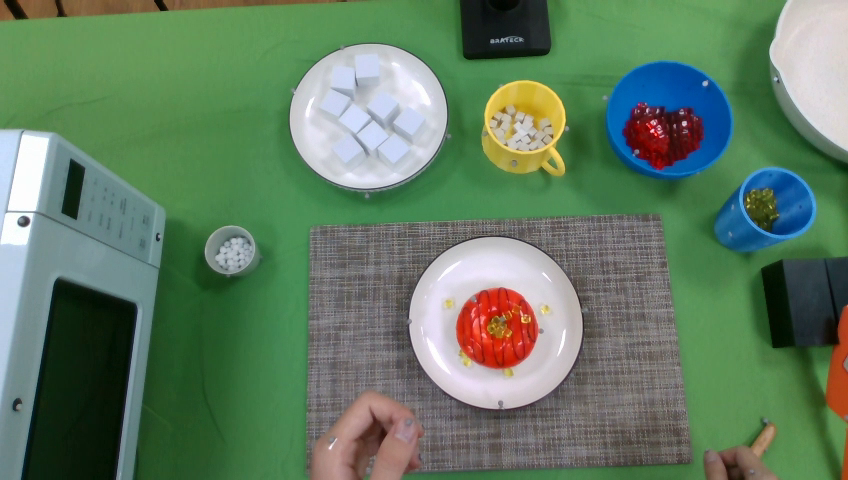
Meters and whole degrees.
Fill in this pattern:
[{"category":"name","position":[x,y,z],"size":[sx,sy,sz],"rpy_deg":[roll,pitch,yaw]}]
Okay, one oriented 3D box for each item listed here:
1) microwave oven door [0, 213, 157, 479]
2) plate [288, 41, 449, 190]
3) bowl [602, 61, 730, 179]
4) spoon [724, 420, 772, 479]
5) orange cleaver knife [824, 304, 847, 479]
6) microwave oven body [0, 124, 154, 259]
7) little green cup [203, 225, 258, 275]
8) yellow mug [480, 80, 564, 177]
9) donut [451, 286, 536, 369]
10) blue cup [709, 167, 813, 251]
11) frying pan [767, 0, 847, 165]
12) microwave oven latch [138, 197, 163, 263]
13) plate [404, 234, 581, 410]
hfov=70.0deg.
[{"category":"microwave oven door","position":[-0.354,0.175,0.597],"size":[0.039,0.245,0.354],"rpy_deg":[1,76,2]},{"category":"plate","position":[-0.071,-0.161,0.798],"size":[0.207,0.039,0.206],"rpy_deg":[0,76,1]},{"category":"bowl","position":[0.293,-0.138,0.764],"size":[0.151,0.077,0.150],"rpy_deg":[0,77,1]},{"category":"spoon","position":[0.341,0.280,0.688],"size":[0.041,0.022,0.193],"rpy_deg":[40,80,22]},{"category":"orange cleaver knife","position":[0.475,0.178,0.680],"size":[0.012,0.077,0.212],"rpy_deg":[-3,105,1]},{"category":"microwave oven body","position":[-0.498,0.132,0.616],"size":[0.326,0.261,0.439],"rpy_deg":[1,77,1]},{"category":"little green cup","position":[-0.239,0.015,0.757],"size":[0.061,0.039,0.061],"rpy_deg":[0,78,0]},{"category":"yellow mug","position":[0.133,-0.132,0.772],"size":[0.100,0.064,0.130],"rpy_deg":[-38,79,-8]},{"category":"donut","position":[0.082,0.103,0.714],"size":[0.099,0.048,0.098],"rpy_deg":[0,80,3]},{"category":"blue cup","position":[0.391,-0.028,0.722],"size":[0.092,0.101,0.092],"rpy_deg":[0,74,1]},{"category":"frying pan","position":[0.575,-0.122,0.740],"size":[0.307,0.103,0.484],"rpy_deg":[3,68,3]},{"category":"microwave oven latch","position":[-0.343,-0.013,0.747],"size":[0.030,0.029,0.079],"rpy_deg":[3,77,2]},{"category":"plate","position":[0.080,0.097,0.727],"size":[0.209,0.038,0.208],"rpy_deg":[0,77,1]}]
